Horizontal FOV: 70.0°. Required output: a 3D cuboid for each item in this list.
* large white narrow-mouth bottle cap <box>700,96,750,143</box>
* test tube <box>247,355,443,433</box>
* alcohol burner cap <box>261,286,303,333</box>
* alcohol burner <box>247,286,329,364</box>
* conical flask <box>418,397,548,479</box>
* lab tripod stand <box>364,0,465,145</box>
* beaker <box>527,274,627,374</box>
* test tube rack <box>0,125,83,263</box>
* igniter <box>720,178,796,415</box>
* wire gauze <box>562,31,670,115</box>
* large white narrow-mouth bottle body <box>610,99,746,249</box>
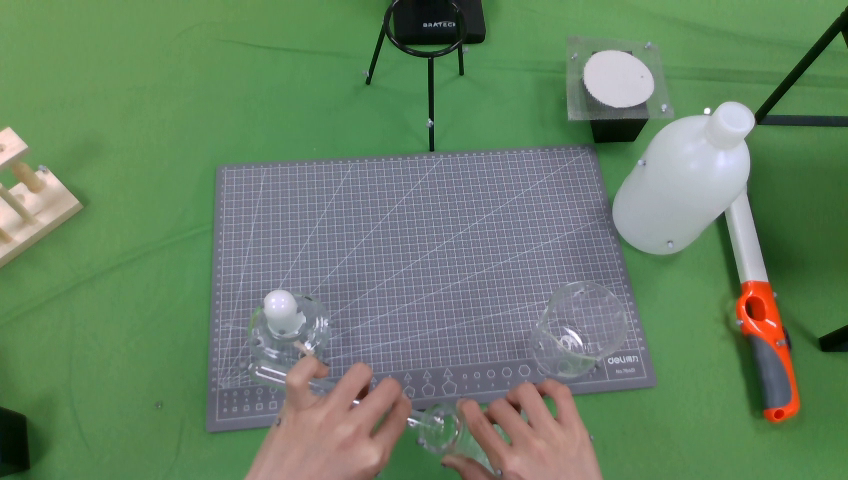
[{"bbox_3d":[0.270,-0.109,0.546,0.038,0.024,0.037,1,65,-3],"label":"large white narrow-mouth bottle cap"},{"bbox_3d":[-0.055,0.113,0.440,0.151,0.017,0.017,23,64,-17],"label":"test tube"},{"bbox_3d":[-0.128,0.059,0.537,0.034,0.048,0.033,1,60,-1],"label":"alcohol burner cap"},{"bbox_3d":[-0.130,0.074,0.570,0.078,0.120,0.077,2,64,-5],"label":"alcohol burner"},{"bbox_3d":[0.045,0.160,0.499,0.075,0.123,0.074,-19,55,30],"label":"conical flask"},{"bbox_3d":[-0.002,-0.206,0.699,0.148,0.132,0.147,2,66,-5],"label":"lab tripod stand"},{"bbox_3d":[0.141,0.087,0.590,0.084,0.101,0.073,-7,65,-6],"label":"beaker"},{"bbox_3d":[-0.480,0.000,0.597,0.066,0.086,0.242,41,69,14],"label":"test tube rack"},{"bbox_3d":[0.360,0.051,0.665,0.057,0.025,0.274,6,65,-12],"label":"igniter"},{"bbox_3d":[0.226,-0.199,0.726,0.121,0.011,0.124,3,65,-2],"label":"wire gauze"},{"bbox_3d":[0.266,-0.072,0.622,0.102,0.196,0.101,1,65,-2],"label":"large white narrow-mouth bottle body"}]
